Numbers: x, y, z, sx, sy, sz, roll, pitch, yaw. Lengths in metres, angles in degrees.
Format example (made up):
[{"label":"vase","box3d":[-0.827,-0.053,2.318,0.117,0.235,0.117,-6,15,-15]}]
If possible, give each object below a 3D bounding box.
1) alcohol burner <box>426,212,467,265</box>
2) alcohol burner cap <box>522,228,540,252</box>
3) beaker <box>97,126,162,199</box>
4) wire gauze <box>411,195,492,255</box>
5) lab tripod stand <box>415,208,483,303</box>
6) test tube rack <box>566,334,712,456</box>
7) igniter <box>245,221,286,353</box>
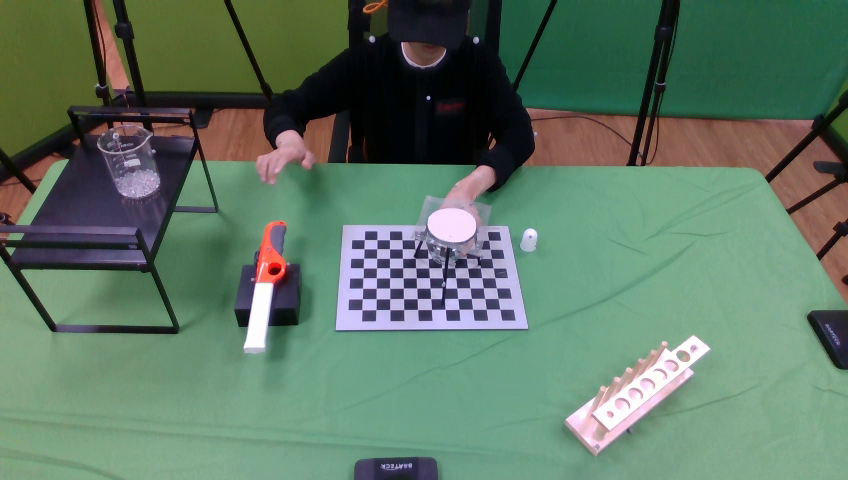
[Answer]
[{"label":"alcohol burner","box3d":[0.044,-0.010,1.136,0.078,0.119,0.077,2,47,-2]},{"label":"alcohol burner cap","box3d":[0.214,-0.003,1.198,0.034,0.048,0.033,1,46,-1]},{"label":"beaker","box3d":[-0.468,-0.124,0.979,0.084,0.101,0.073,-25,53,-26]},{"label":"wire gauze","box3d":[0.049,-0.031,1.051,0.125,0.011,0.121,12,47,9]},{"label":"lab tripod stand","box3d":[0.043,0.018,1.097,0.148,0.132,0.147,0,46,0]},{"label":"test tube rack","box3d":[0.338,0.228,0.950,0.242,0.085,0.066,-27,52,-26]},{"label":"igniter","box3d":[-0.270,0.070,1.040,0.057,0.025,0.274,2,48,-6]}]
